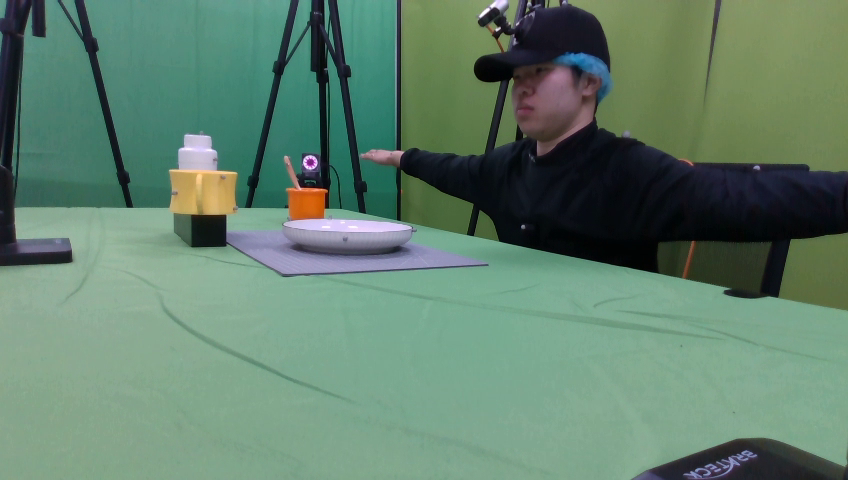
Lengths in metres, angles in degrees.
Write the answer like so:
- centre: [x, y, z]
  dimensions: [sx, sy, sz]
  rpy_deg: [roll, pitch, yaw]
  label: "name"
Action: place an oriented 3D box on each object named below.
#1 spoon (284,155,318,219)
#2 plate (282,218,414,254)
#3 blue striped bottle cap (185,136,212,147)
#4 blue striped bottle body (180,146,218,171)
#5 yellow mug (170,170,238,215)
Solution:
- centre: [-0.286, -0.121, 1.367]
  dimensions: [0.042, 0.021, 0.193]
  rpy_deg: [-5, 50, -37]
  label: "spoon"
- centre: [-0.121, -0.007, 0.971]
  dimensions: [0.208, 0.039, 0.207]
  rpy_deg: [2, 7, 0]
  label: "plate"
- centre: [-0.390, -0.169, 1.047]
  dimensions: [0.044, 0.020, 0.044]
  rpy_deg: [4, 9, 0]
  label: "blue striped bottle cap"
- centre: [-0.392, -0.118, 1.053]
  dimensions: [0.063, 0.120, 0.063]
  rpy_deg: [3, 7, 0]
  label: "blue striped bottle body"
- centre: [-0.342, -0.074, 0.939]
  dimensions: [0.100, 0.064, 0.130]
  rpy_deg: [0, 8, -16]
  label: "yellow mug"
